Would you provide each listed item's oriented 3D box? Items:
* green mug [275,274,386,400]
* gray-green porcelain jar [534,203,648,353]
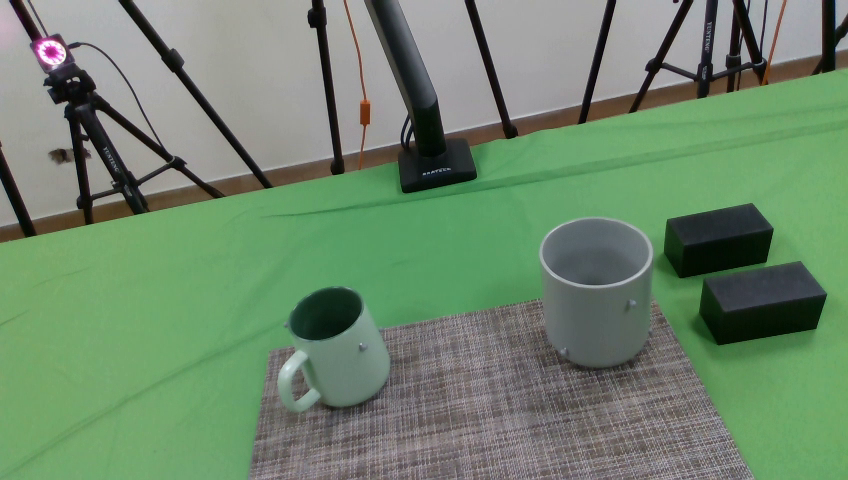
[{"bbox_3d":[-0.102,0.110,0.627,0.092,0.106,0.125,18,49,32],"label":"green mug"},{"bbox_3d":[0.169,0.043,0.613,0.106,0.128,0.105,-8,39,7],"label":"gray-green porcelain jar"}]
